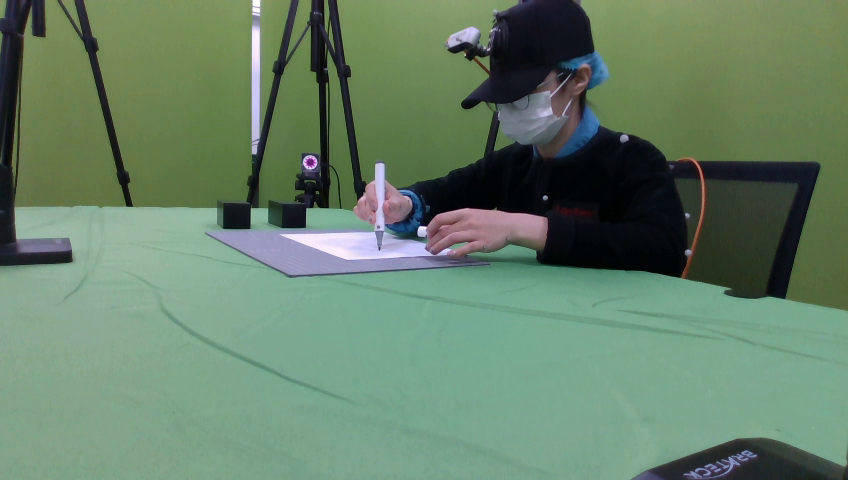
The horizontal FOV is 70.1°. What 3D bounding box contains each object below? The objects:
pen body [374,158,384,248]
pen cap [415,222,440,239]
[{"bbox_3d":[-0.071,-0.058,0.953,0.017,0.144,0.017,-1,-10,0],"label":"pen body"},{"bbox_3d":[0.006,-0.014,0.914,0.038,0.017,0.017,26,19,31],"label":"pen cap"}]
